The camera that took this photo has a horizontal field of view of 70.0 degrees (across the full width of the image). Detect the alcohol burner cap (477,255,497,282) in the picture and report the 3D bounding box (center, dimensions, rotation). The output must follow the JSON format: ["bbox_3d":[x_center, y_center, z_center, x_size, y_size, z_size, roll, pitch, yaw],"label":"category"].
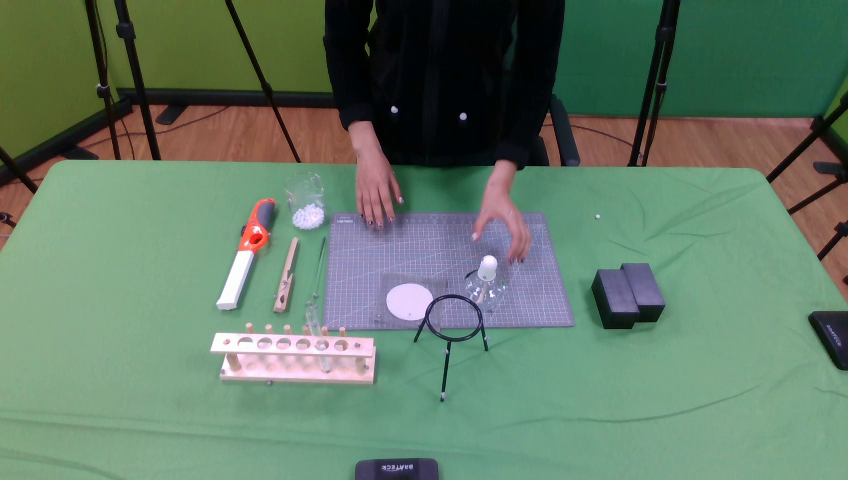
[{"bbox_3d":[0.110,0.047,1.046,0.034,0.048,0.033,2,52,-2],"label":"alcohol burner cap"}]

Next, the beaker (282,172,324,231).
[{"bbox_3d":[-0.234,-0.073,1.198,0.084,0.101,0.074,24,50,17],"label":"beaker"}]

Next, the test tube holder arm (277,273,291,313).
[{"bbox_3d":[-0.254,0.093,1.094,0.010,0.015,0.087,29,39,-27],"label":"test tube holder arm"}]

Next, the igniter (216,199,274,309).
[{"bbox_3d":[-0.336,0.017,1.152,0.057,0.025,0.275,-2,45,8],"label":"igniter"}]

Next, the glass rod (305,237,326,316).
[{"bbox_3d":[-0.202,0.064,1.131,0.008,0.008,0.198,4,44,0],"label":"glass rod"}]

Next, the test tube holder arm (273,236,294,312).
[{"bbox_3d":[-0.259,0.059,1.122,0.013,0.015,0.177,28,39,-27],"label":"test tube holder arm"}]

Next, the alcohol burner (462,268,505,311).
[{"bbox_3d":[0.108,0.071,1.072,0.078,0.119,0.077,4,46,-4],"label":"alcohol burner"}]

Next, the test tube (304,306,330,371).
[{"bbox_3d":[-0.162,0.154,0.925,0.017,0.151,0.017,-2,44,2],"label":"test tube"}]

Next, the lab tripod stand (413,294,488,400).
[{"bbox_3d":[0.045,0.160,0.972,0.148,0.132,0.147,3,44,-2],"label":"lab tripod stand"}]

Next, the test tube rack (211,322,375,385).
[{"bbox_3d":[-0.203,0.176,0.969,0.242,0.085,0.066,3,46,-2],"label":"test tube rack"}]

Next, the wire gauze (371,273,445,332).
[{"bbox_3d":[-0.028,0.109,1.099,0.125,0.011,0.121,7,45,4],"label":"wire gauze"}]
